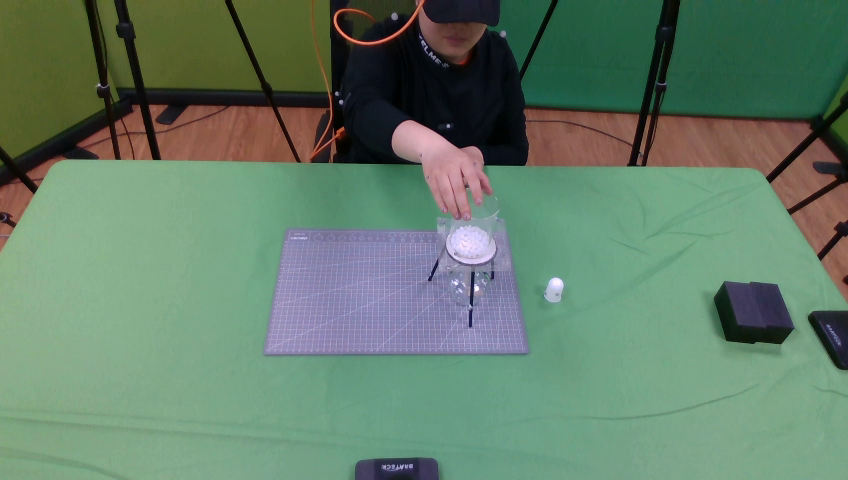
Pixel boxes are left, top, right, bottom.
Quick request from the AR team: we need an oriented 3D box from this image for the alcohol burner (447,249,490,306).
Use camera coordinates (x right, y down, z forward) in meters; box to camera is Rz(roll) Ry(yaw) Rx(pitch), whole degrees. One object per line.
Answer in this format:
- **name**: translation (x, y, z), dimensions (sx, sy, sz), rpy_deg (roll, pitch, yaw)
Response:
- **alcohol burner**: translation (0.080, 0.062, 1.078), dimensions (0.078, 0.120, 0.077), rpy_deg (1, 45, -1)

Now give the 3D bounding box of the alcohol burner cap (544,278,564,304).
- **alcohol burner cap**: translation (0.241, 0.091, 1.117), dimensions (0.034, 0.048, 0.033), rpy_deg (2, 45, -2)

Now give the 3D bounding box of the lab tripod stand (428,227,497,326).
- **lab tripod stand**: translation (0.079, 0.056, 1.070), dimensions (0.148, 0.132, 0.147), rpy_deg (3, 47, -3)

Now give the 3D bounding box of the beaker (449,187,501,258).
- **beaker**: translation (0.080, -0.027, 0.991), dimensions (0.074, 0.101, 0.083), rpy_deg (3, 46, -3)

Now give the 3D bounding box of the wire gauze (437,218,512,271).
- **wire gauze**: translation (0.083, 0.007, 1.026), dimensions (0.121, 0.011, 0.124), rpy_deg (3, 44, -5)
